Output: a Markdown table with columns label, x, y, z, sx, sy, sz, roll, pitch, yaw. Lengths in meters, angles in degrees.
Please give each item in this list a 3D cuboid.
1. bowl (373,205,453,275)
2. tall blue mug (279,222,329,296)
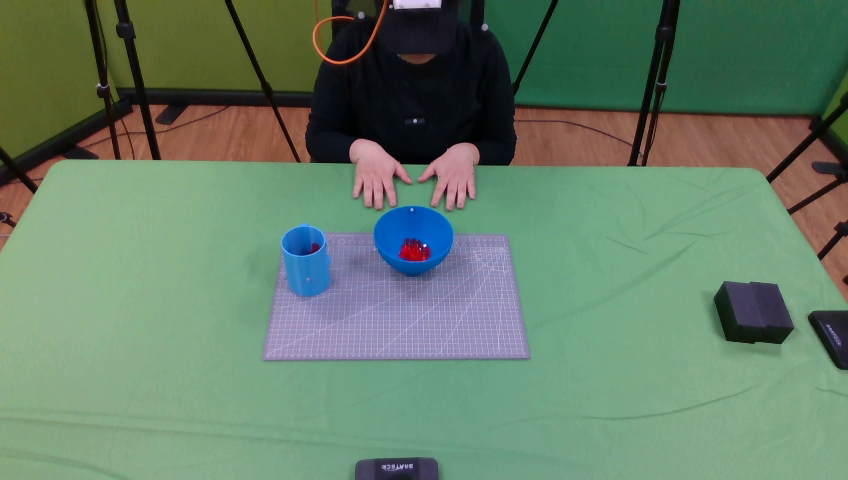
| label | x | y | z | sx | sy | sz | roll | pitch | yaw |
| --- | --- | --- | --- | --- | --- | --- | --- | --- | --- |
| bowl | -0.022 | 0.013 | 1.143 | 0.151 | 0.077 | 0.150 | 2 | 46 | -2 |
| tall blue mug | -0.221 | 0.029 | 1.090 | 0.078 | 0.108 | 0.106 | -26 | 53 | -25 |
